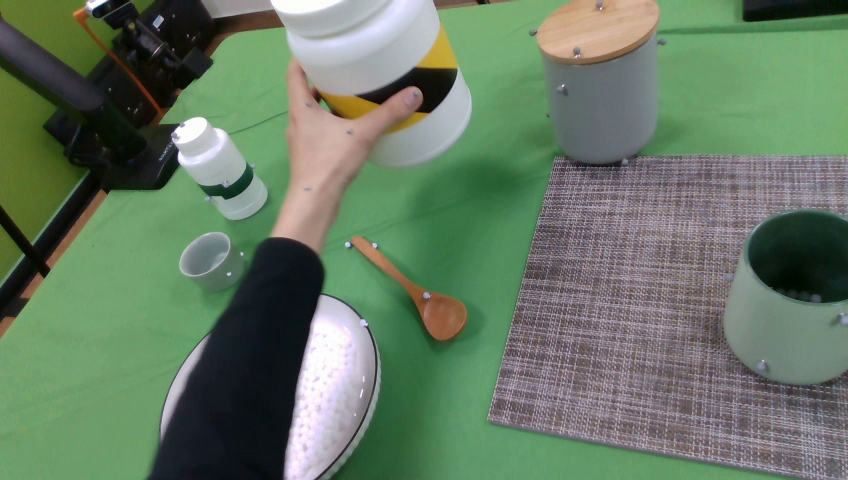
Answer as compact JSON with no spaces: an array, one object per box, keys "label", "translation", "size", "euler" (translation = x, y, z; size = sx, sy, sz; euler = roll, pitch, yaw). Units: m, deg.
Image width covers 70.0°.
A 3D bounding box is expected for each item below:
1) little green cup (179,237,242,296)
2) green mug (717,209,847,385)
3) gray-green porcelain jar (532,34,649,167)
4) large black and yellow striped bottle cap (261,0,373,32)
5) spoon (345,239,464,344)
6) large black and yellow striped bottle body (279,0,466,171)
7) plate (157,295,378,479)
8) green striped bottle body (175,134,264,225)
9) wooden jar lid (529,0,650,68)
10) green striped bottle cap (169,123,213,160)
[{"label":"little green cup","translation":[-0.236,0.032,0.677],"size":[0.061,0.039,0.061],"euler":[-10,49,12]},{"label":"green mug","translation":[0.272,0.044,0.416],"size":[0.124,0.106,0.092],"euler":[12,57,29]},{"label":"gray-green porcelain jar","translation":[0.168,-0.145,0.603],"size":[0.106,0.128,0.105],"euler":[-11,45,11]},{"label":"large black and yellow striped bottle cap","translation":[-0.078,-0.211,0.486],"size":[0.115,0.019,0.114],"euler":[-11,52,15]},{"label":"spoon","translation":[-0.026,0.041,0.597],"size":[0.191,0.022,0.041],"euler":[37,88,39]},{"label":"large black and yellow striped bottle body","translation":[-0.048,-0.167,0.550],"size":[0.130,0.186,0.129],"euler":[-12,53,16]},{"label":"plate","translation":[-0.135,0.145,0.543],"size":[0.209,0.038,0.207],"euler":[-11,49,13]},{"label":"green striped bottle body","translation":[-0.246,-0.077,0.715],"size":[0.063,0.120,0.062],"euler":[-11,49,13]},{"label":"wooden jar lid","translation":[0.152,-0.188,0.559],"size":[0.108,0.021,0.107],"euler":[-13,46,14]},{"label":"green striped bottle cap","translation":[-0.260,-0.110,0.678],"size":[0.044,0.020,0.044],"euler":[-10,51,12]}]
